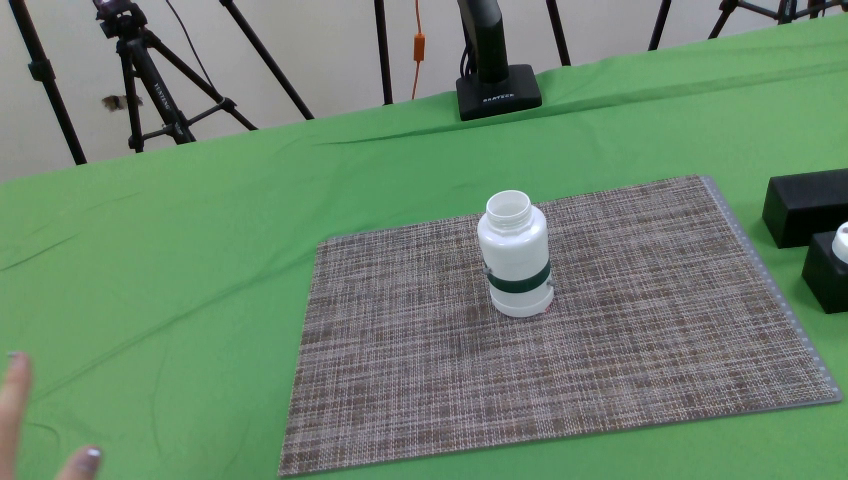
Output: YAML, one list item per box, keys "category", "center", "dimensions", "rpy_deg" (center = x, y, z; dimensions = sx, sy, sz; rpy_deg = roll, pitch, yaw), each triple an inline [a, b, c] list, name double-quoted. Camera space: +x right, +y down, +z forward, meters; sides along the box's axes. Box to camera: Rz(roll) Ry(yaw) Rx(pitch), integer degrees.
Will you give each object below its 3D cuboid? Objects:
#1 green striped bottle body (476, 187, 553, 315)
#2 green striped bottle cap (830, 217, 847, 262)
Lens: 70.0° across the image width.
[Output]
- category: "green striped bottle body"
  center: [0.085, 0.009, 0.565]
  dimensions: [0.063, 0.120, 0.062]
  rpy_deg: [-9, 41, 8]
- category: "green striped bottle cap"
  center: [0.362, 0.000, 0.498]
  dimensions: [0.044, 0.020, 0.044]
  rpy_deg: [-6, 42, 6]
